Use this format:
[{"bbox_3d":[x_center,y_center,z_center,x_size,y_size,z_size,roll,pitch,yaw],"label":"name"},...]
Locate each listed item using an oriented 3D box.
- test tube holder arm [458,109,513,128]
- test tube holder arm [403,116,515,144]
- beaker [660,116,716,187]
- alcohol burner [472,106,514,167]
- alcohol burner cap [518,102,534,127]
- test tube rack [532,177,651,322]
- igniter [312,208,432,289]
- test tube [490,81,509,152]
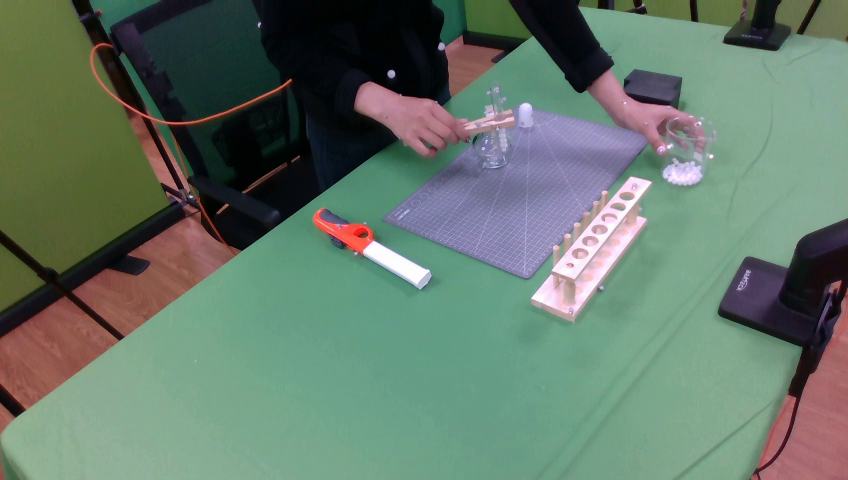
[{"bbox_3d":[0.097,-0.187,0.951,0.088,0.015,0.010,-17,56,2],"label":"test tube holder arm"},{"bbox_3d":[0.054,-0.173,0.952,0.178,0.015,0.013,-10,56,7],"label":"test tube holder arm"},{"bbox_3d":[0.439,-0.145,1.011,0.074,0.101,0.083,-36,47,-27],"label":"beaker"},{"bbox_3d":[0.126,-0.194,1.111,0.078,0.119,0.077,-5,42,5],"label":"alcohol burner"},{"bbox_3d":[0.205,-0.255,1.223,0.034,0.048,0.033,-6,41,6],"label":"alcohol burner cap"},{"bbox_3d":[0.248,0.003,0.883,0.066,0.085,0.243,22,49,32],"label":"test tube rack"},{"bbox_3d":[-0.096,0.008,0.985,0.274,0.025,0.057,28,62,36],"label":"igniter"},{"bbox_3d":[0.119,-0.190,0.945,0.017,0.151,0.017,-6,57,10],"label":"test tube"}]
